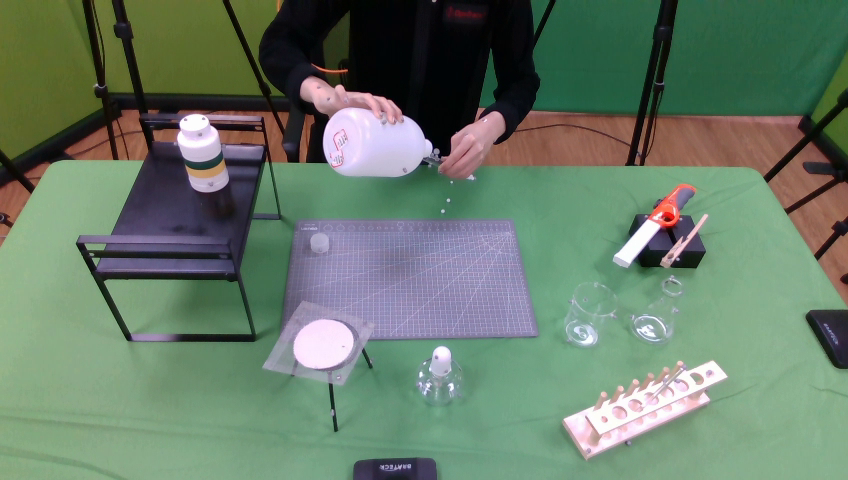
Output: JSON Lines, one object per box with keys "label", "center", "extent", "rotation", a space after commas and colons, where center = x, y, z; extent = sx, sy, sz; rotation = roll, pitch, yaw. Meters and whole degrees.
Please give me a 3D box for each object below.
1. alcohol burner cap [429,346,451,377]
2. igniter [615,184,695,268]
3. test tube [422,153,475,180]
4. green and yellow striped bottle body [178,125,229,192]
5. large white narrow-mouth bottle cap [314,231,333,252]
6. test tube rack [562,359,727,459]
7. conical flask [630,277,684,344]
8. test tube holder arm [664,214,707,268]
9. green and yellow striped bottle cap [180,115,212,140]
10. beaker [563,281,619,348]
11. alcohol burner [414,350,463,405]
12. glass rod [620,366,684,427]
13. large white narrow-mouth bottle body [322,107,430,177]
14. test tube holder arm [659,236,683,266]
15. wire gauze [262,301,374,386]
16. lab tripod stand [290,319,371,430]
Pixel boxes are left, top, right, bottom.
{"label": "alcohol burner cap", "center": [0.026, 0.180, 0.912], "extent": [0.034, 0.048, 0.033], "rotation": [1, 47, -1]}
{"label": "igniter", "center": [0.459, -0.035, 1.197], "extent": [0.057, 0.025, 0.276], "rotation": [33, 55, 27]}
{"label": "test tube", "center": [0.047, -0.133, 1.096], "extent": [0.151, 0.017, 0.017], "rotation": [15, 29, -50]}
{"label": "green and yellow striped bottle body", "center": [-0.361, -0.142, 0.989], "extent": [0.063, 0.120, 0.063], "rotation": [2, 46, -2]}
{"label": "large white narrow-mouth bottle cap", "center": [-0.195, 0.003, 1.178], "extent": [0.038, 0.024, 0.037], "rotation": [2, 45, -2]}
{"label": "test tube rack", "center": [0.341, 0.247, 0.940], "extent": [0.243, 0.085, 0.066], "rotation": [-16, 49, -18]}
{"label": "conical flask", "center": [0.408, 0.117, 1.045], "extent": [0.075, 0.122, 0.075], "rotation": [2, 46, -2]}
{"label": "test tube holder arm", "center": [0.507, -0.001, 1.171], "extent": [0.013, 0.015, 0.178], "rotation": [34, 54, 26]}
{"label": "green and yellow striped bottle cap", "center": [-0.358, -0.177, 0.951], "extent": [0.045, 0.020, 0.045], "rotation": [2, 45, -2]}
{"label": "beaker", "center": [0.283, 0.129, 1.041], "extent": [0.074, 0.101, 0.083], "rotation": [11, 46, 6]}
{"label": "alcohol burner", "center": [0.023, 0.205, 0.939], "extent": [0.078, 0.120, 0.077], "rotation": [1, 48, -1]}
{"label": "glass rod", "center": [0.323, 0.227, 0.866], "extent": [0.008, 0.200, 0.008], "rotation": [5, 51, -7]}
{"label": "large white narrow-mouth bottle body", "center": [-0.061, -0.152, 0.965], "extent": [0.101, 0.102, 0.195], "rotation": [41, 28, 30]}
{"label": "test tube holder arm", "center": [0.472, 0.020, 1.149], "extent": [0.010, 0.015, 0.088], "rotation": [35, 54, 27]}
{"label": "wire gauze", "center": [-0.150, 0.148, 0.873], "extent": [0.121, 0.011, 0.124], "rotation": [14, 46, 12]}
{"label": "lab tripod stand", "center": [-0.146, 0.194, 0.923], "extent": [0.148, 0.132, 0.147], "rotation": [1, 47, -1]}
